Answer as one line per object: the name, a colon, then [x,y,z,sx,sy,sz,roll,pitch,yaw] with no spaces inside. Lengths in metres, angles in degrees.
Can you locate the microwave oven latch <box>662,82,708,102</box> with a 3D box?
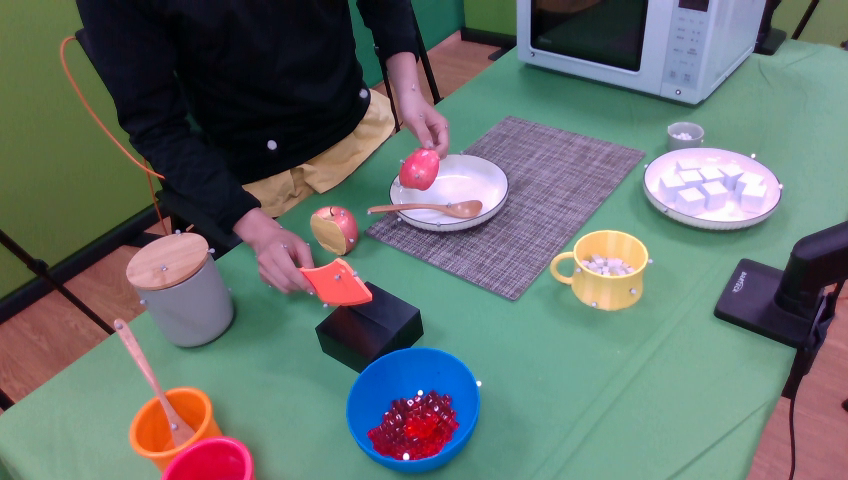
microwave oven latch: [0.517,-0.298,1.203,0.078,0.029,0.030,28,52,35]

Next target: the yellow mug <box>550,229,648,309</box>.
yellow mug: [0.245,0.040,0.856,0.130,0.064,0.099,1,41,11]

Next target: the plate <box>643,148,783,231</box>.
plate: [0.464,-0.079,0.986,0.207,0.039,0.206,-4,40,4]

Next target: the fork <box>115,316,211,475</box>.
fork: [-0.308,0.179,0.708,0.028,0.018,0.207,-30,89,-20]

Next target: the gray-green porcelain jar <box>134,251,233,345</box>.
gray-green porcelain jar: [-0.334,0.076,0.849,0.106,0.127,0.105,-4,41,4]

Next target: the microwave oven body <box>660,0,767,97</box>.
microwave oven body: [0.473,-0.517,1.314,0.438,0.261,0.327,26,51,34]

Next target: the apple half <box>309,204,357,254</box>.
apple half: [-0.140,-0.023,0.979,0.080,0.075,0.053,19,44,32]

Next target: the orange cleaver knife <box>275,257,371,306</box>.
orange cleaver knife: [-0.143,0.059,0.829,0.012,0.077,0.210,-40,22,-34]

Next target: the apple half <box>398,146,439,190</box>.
apple half: [-0.014,-0.121,0.971,0.081,0.033,0.081,-16,62,33]

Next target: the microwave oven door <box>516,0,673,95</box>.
microwave oven door: [0.344,-0.458,1.256,0.353,0.245,0.039,26,51,33]

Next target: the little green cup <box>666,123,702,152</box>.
little green cup: [0.472,-0.183,1.102,0.061,0.039,0.061,-5,41,5]

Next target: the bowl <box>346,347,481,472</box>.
bowl: [-0.008,0.205,0.691,0.151,0.077,0.150,-4,40,4]

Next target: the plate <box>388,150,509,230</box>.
plate: [0.044,-0.082,1.042,0.209,0.038,0.208,-4,40,4]

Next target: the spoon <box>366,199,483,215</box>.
spoon: [0.001,-0.055,0.997,0.194,0.022,0.041,1,33,-7]

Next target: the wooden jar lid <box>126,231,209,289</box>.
wooden jar lid: [-0.340,0.030,0.808,0.108,0.021,0.108,-5,39,5]
